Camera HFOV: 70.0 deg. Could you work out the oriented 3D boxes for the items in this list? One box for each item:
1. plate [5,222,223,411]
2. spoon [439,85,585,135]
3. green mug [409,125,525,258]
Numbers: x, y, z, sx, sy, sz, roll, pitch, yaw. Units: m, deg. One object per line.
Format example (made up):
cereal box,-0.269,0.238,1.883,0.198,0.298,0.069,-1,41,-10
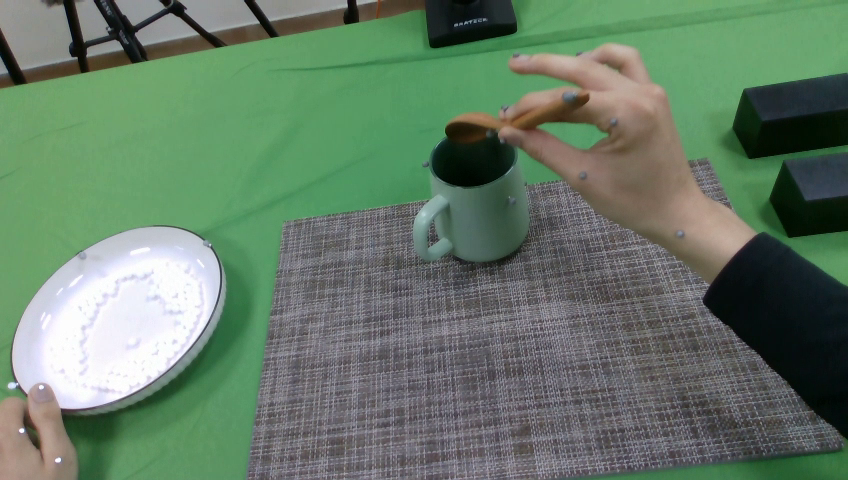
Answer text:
plate,-0.293,0.072,0.591,0.209,0.038,0.207,-6,51,7
spoon,0.057,-0.087,0.425,0.042,0.021,0.192,8,5,-20
green mug,0.035,-0.033,0.559,0.091,0.106,0.125,34,66,32
